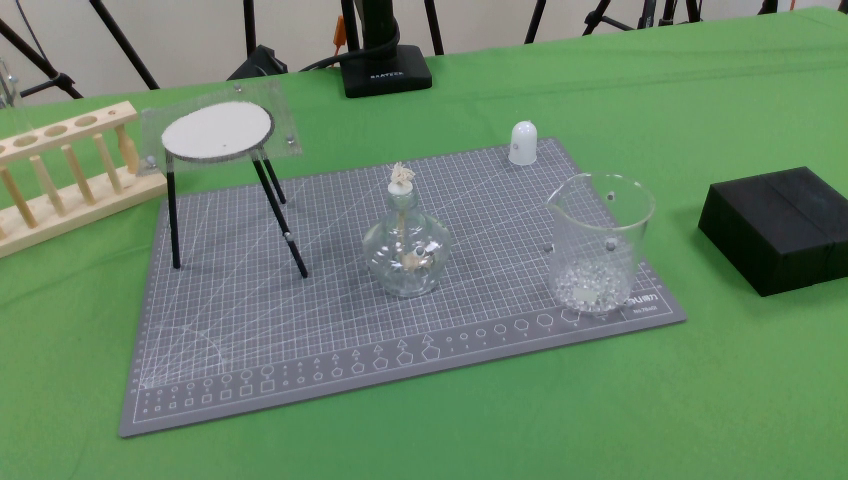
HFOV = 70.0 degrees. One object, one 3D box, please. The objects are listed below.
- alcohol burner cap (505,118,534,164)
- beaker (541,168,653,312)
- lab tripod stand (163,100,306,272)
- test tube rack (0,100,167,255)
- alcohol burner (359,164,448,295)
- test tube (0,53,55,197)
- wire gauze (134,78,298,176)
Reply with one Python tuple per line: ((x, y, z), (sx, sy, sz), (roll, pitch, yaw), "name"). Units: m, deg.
((0.107, -0.113, 0.673), (0.034, 0.048, 0.033), (-2, 41, 2), "alcohol burner cap")
((0.136, 0.003, 0.497), (0.084, 0.101, 0.073), (3, 42, 8), "beaker")
((-0.171, -0.044, 0.544), (0.148, 0.133, 0.147), (-2, 43, 2), "lab tripod stand")
((-0.398, -0.054, 0.610), (0.242, 0.086, 0.066), (-27, 47, -25), "test tube rack")
((-0.018, -0.012, 0.513), (0.078, 0.120, 0.077), (-2, 40, 2), "alcohol burner")
((-0.396, -0.109, 0.596), (0.017, 0.151, 0.017), (0, 35, 0), "test tube")
((-0.174, -0.094, 0.499), (0.125, 0.011, 0.120), (-14, 43, -11), "wire gauze")
